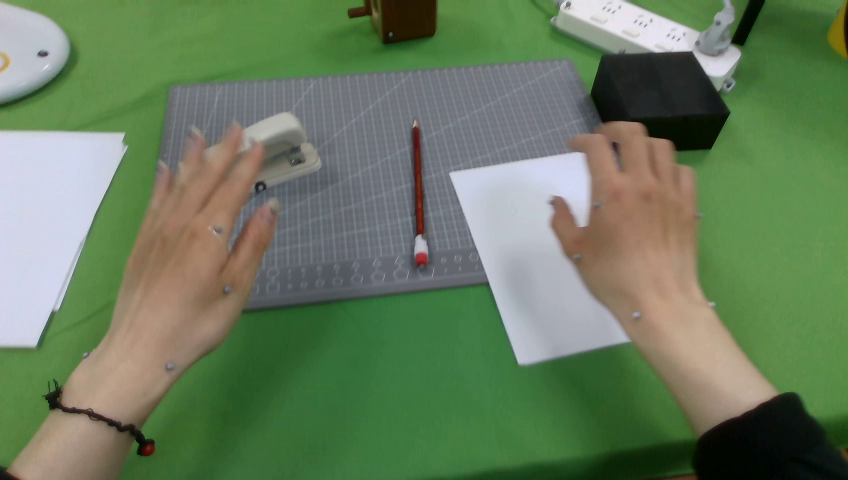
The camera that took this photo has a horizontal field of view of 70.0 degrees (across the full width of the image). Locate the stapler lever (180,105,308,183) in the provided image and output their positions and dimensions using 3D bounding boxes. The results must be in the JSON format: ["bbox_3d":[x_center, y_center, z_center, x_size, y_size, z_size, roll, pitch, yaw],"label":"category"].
[{"bbox_3d":[-0.163,-0.088,0.550,0.118,0.040,0.026,-22,55,-17],"label":"stapler lever"}]

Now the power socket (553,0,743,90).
[{"bbox_3d":[0.261,-0.243,0.711,0.225,0.033,0.072,34,58,22],"label":"power socket"}]

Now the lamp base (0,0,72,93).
[{"bbox_3d":[-0.478,-0.265,0.606,0.160,0.182,0.177,-33,58,-24],"label":"lamp base"}]

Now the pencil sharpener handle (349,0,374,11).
[{"bbox_3d":[-0.072,-0.291,0.671,0.031,0.068,0.035,-15,33,-12],"label":"pencil sharpener handle"}]

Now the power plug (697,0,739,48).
[{"bbox_3d":[0.337,-0.237,0.679,0.072,0.053,0.035,-34,61,-23],"label":"power plug"}]

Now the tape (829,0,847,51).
[{"bbox_3d":[0.558,-0.263,0.724,0.117,0.053,0.115,1,54,-1],"label":"tape"}]

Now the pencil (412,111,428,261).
[{"bbox_3d":[-0.006,-0.059,0.573,0.012,0.012,0.192,-1,52,-2],"label":"pencil"}]

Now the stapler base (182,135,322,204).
[{"bbox_3d":[-0.162,-0.075,0.570,0.131,0.024,0.041,-22,55,-16],"label":"stapler base"}]

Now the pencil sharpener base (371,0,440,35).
[{"bbox_3d":[-0.026,-0.300,0.696,0.077,0.108,0.060,-15,55,-12],"label":"pencil sharpener base"}]
